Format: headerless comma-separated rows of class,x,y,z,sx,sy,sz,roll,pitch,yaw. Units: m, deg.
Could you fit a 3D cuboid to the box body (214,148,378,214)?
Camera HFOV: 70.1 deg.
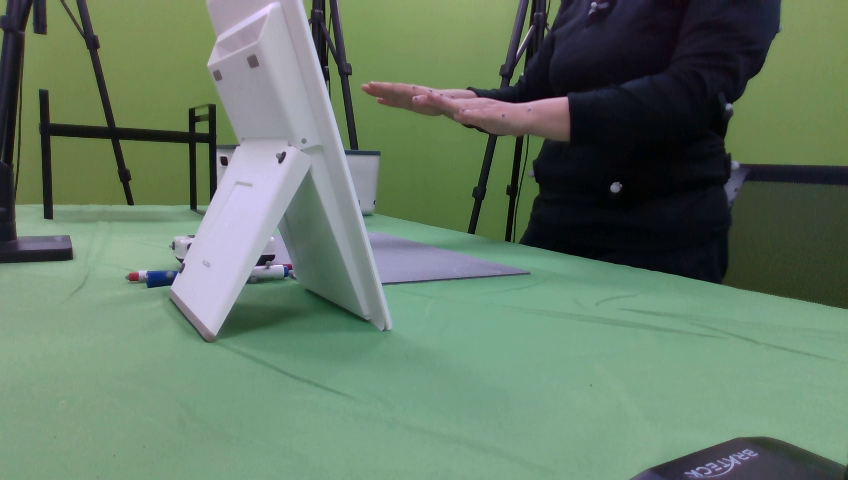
box body,-0.328,-0.154,1.543,0.366,0.160,0.253,-2,9,-32

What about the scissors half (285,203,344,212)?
scissors half,-0.280,-0.081,1.552,0.040,0.013,0.176,1,9,45

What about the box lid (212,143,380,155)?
box lid,-0.326,-0.227,1.533,0.373,0.015,0.262,-2,8,-32

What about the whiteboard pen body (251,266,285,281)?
whiteboard pen body,-0.220,0.039,0.656,0.141,0.017,0.017,-2,9,-31

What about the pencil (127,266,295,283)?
pencil,-0.231,0.037,0.690,0.195,0.012,0.012,-2,9,-34

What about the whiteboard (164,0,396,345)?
whiteboard,-0.172,-0.053,0.511,0.144,0.305,0.216,-23,20,-26

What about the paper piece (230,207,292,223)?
paper piece,-0.395,-0.062,1.461,0.139,0.008,0.135,14,-4,-22

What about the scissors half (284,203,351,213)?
scissors half,-0.268,-0.079,1.535,0.176,0.013,0.040,-7,12,-23

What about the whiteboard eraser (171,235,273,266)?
whiteboard eraser,-0.248,0.014,0.747,0.113,0.042,0.055,-1,10,-32

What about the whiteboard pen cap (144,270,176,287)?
whiteboard pen cap,-0.271,0.039,0.627,0.033,0.018,0.018,-3,10,-32
